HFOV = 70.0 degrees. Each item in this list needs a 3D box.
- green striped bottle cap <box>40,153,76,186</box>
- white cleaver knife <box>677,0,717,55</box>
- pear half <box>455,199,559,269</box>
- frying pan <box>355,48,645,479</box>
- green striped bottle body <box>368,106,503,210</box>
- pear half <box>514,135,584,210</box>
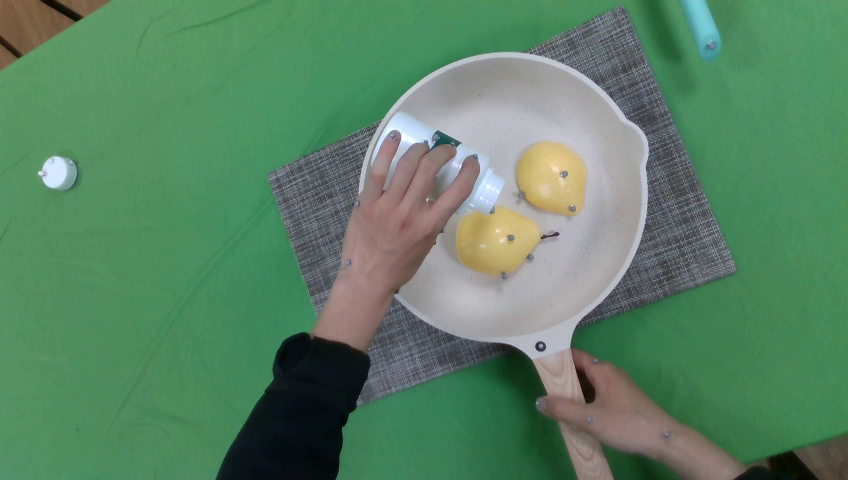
[{"bbox_3d":[-0.491,-0.095,0.812,0.044,0.020,0.044,0,90,15],"label":"green striped bottle cap"},{"bbox_3d":[0.231,-0.316,0.602,0.021,0.066,0.285,-20,83,19],"label":"white cleaver knife"},{"bbox_3d":[0.087,-0.008,0.640,0.109,0.056,0.076,-9,93,12],"label":"pear half"},{"bbox_3d":[0.104,0.050,0.612,0.306,0.103,0.485,-20,77,15],"label":"frying pan"},{"bbox_3d":[0.013,-0.072,0.566,0.119,0.063,0.063,27,97,1],"label":"green striped bottle body"},{"bbox_3d":[0.133,-0.071,0.639,0.070,0.031,0.087,-39,77,16],"label":"pear half"}]
